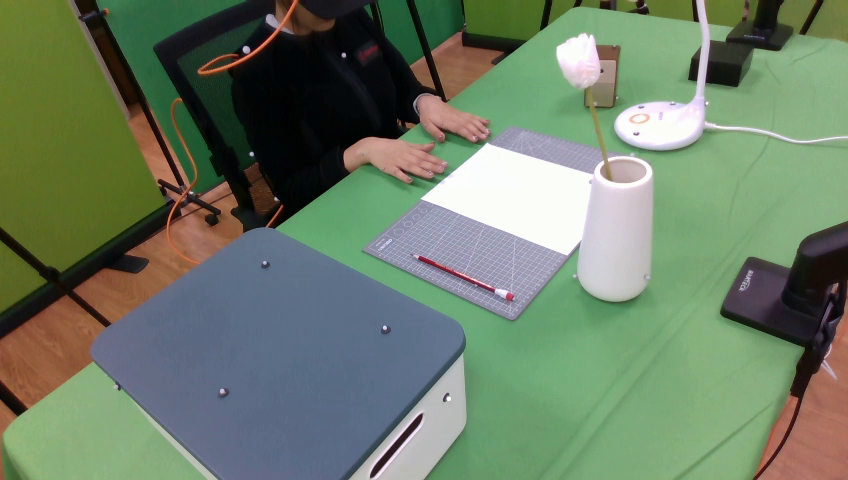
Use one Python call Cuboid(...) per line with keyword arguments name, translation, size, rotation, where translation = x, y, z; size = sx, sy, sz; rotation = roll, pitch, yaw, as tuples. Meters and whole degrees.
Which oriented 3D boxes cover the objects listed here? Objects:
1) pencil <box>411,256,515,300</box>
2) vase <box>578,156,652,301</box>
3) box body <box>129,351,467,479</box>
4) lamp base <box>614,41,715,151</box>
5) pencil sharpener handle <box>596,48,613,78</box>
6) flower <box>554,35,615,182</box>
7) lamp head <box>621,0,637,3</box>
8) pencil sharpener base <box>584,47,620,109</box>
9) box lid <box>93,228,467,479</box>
Cuboid(name="pencil", translation=(0.054, 0.054, 0.918), size=(0.192, 0.012, 0.012), rotation=(21, 48, 33))
Cuboid(name="vase", translation=(0.261, -0.011, 0.812), size=(0.098, 0.201, 0.097), rotation=(-4, 40, 4))
Cuboid(name="box body", translation=(-0.155, 0.169, 0.707), size=(0.361, 0.161, 0.255), rotation=(23, 49, 33))
Cuboid(name="lamp base", translation=(0.449, -0.277, 1.106), size=(0.179, 0.181, 0.160), rotation=(1, 41, 9))
Cuboid(name="pencil sharpener handle", translation=(0.383, -0.378, 1.276), size=(0.036, 0.068, 0.030), rotation=(2, 41, 22))
Cuboid(name="flower", translation=(0.237, -0.083, 0.774), size=(0.044, 0.363, 0.038), rotation=(-22, 26, 7))
Cuboid(name="lamp head", translation=(0.319, -0.453, 0.962), size=(0.113, 0.123, 0.112), rotation=(20, 33, -13))
Cuboid(name="pencil sharpener base", translation=(0.367, -0.336, 1.248), size=(0.061, 0.107, 0.076), rotation=(6, 42, 19))
Cuboid(name="box lid", translation=(-0.167, 0.110, 0.661), size=(0.368, 0.015, 0.264), rotation=(23, 49, 34))
